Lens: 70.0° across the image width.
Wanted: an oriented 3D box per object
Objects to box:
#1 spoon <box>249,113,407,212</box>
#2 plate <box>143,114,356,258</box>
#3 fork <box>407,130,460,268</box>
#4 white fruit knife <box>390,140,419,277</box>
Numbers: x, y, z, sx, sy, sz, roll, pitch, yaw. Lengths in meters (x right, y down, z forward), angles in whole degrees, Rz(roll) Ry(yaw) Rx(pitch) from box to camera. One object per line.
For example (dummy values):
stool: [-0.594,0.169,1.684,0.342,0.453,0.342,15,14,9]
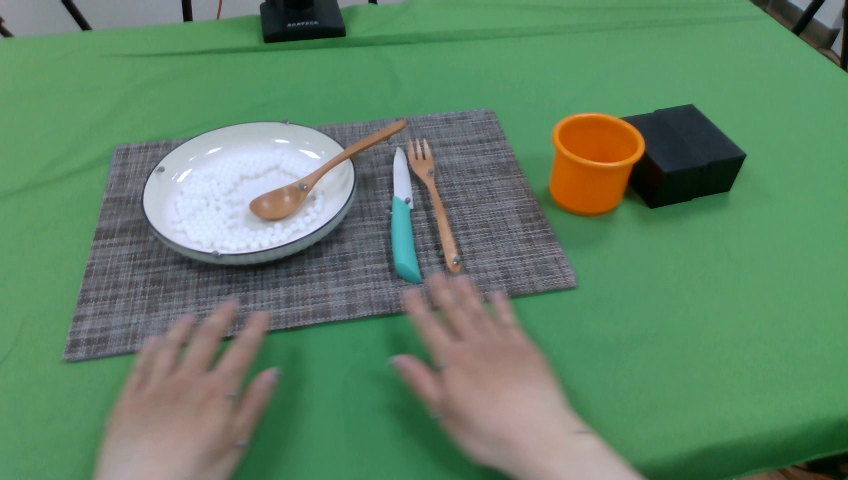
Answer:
spoon: [-0.094,-0.084,0.628,0.193,0.022,0.041,-37,55,-16]
plate: [-0.172,-0.055,0.619,0.209,0.038,0.207,1,46,0]
fork: [0.010,-0.050,0.631,0.028,0.019,0.205,1,44,-17]
white fruit knife: [-0.023,-0.043,0.628,0.027,0.016,0.205,21,39,-24]
